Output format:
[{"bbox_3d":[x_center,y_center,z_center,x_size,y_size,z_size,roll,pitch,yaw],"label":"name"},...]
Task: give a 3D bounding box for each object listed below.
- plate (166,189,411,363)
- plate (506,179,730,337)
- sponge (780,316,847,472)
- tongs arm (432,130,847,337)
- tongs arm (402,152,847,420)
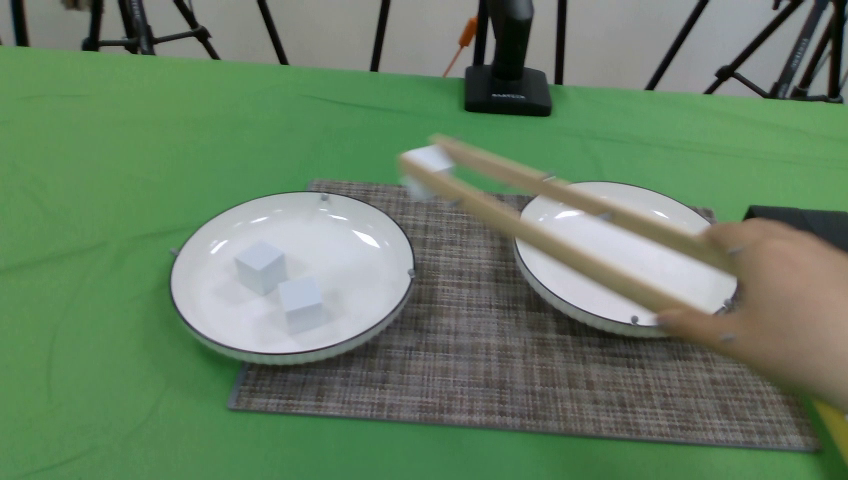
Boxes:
[{"bbox_3d":[-0.116,0.030,0.540,0.209,0.038,0.207,3,41,-2],"label":"plate"},{"bbox_3d":[0.180,0.017,0.582,0.208,0.039,0.205,3,41,-2],"label":"plate"},{"bbox_3d":[0.373,0.144,0.444,0.118,0.061,0.204,1,42,-3],"label":"sponge"},{"bbox_3d":[0.141,0.001,0.419,0.381,0.027,0.050,27,55,31],"label":"tongs arm"},{"bbox_3d":[0.123,0.016,0.408,0.384,0.028,0.028,31,54,33],"label":"tongs arm"}]
